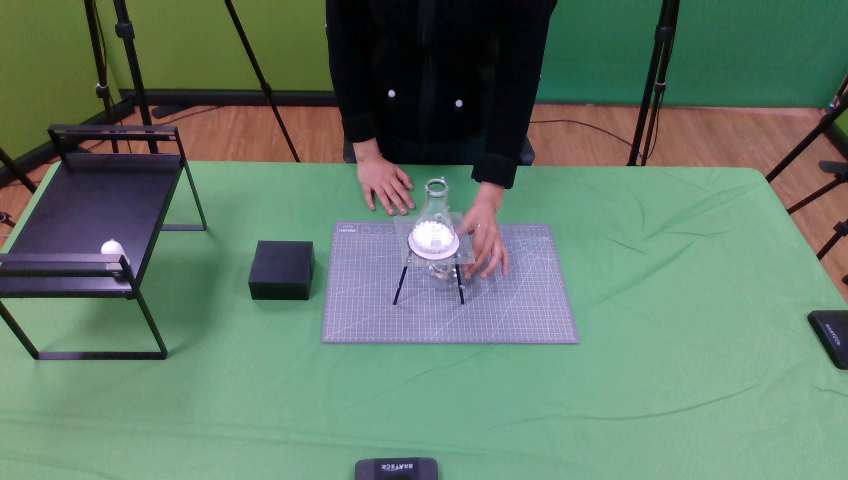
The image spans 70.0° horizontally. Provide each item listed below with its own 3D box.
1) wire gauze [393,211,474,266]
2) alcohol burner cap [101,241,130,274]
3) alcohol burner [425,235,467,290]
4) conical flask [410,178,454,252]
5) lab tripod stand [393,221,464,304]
[{"bbox_3d":[0.015,-0.002,1.029,0.125,0.011,0.120,-6,45,-6],"label":"wire gauze"},{"bbox_3d":[-0.449,0.022,0.878,0.034,0.048,0.033,3,45,-2],"label":"alcohol burner cap"},{"bbox_3d":[0.041,0.035,1.100,0.078,0.120,0.077,1,48,-1],"label":"alcohol burner"},{"bbox_3d":[0.016,-0.043,0.987,0.075,0.122,0.075,2,47,-2],"label":"conical flask"},{"bbox_3d":[0.010,0.045,1.075,0.148,0.132,0.147,2,48,-2],"label":"lab tripod stand"}]
